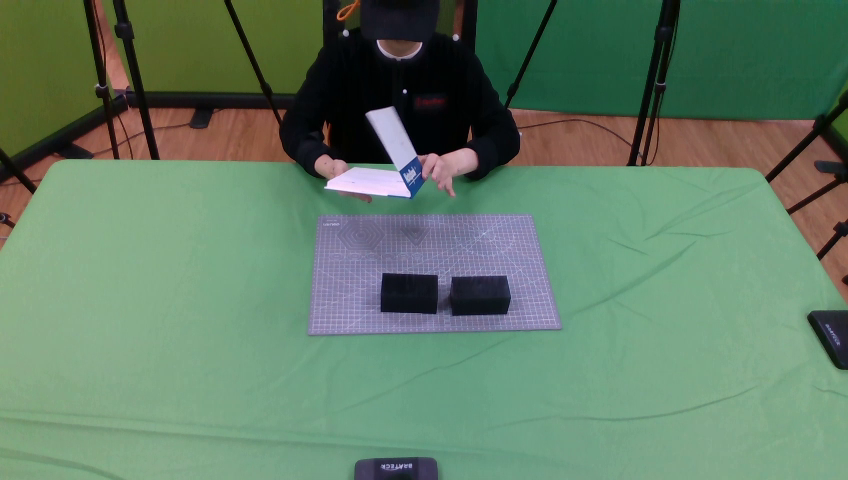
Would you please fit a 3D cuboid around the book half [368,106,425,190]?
[{"bbox_3d":[-0.042,-0.168,1.070,0.007,0.143,0.209,-24,10,13],"label":"book half"}]
